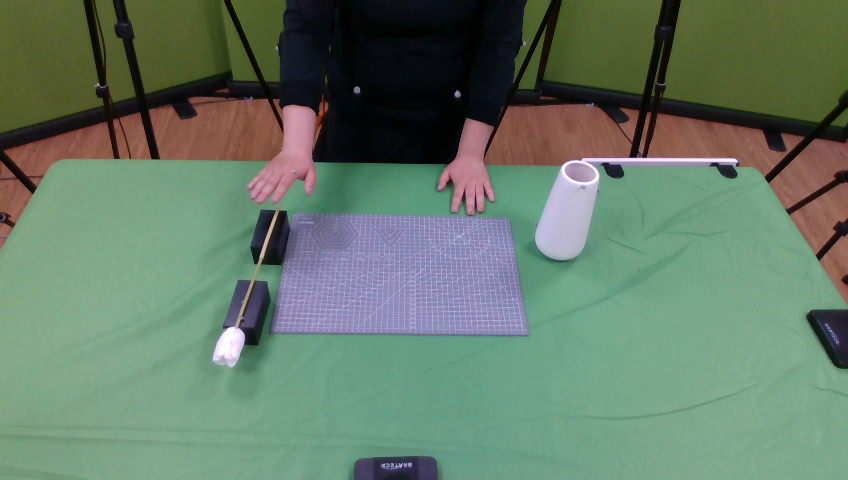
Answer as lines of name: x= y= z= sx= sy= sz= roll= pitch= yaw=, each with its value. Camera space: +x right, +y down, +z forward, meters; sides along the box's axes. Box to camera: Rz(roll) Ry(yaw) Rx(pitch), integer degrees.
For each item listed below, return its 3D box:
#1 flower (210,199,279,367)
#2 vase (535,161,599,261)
flower: x=-0.298 y=0.056 z=1.054 sx=0.044 sy=0.038 sz=0.359 roll=-16 pitch=44 yaw=24
vase: x=0.271 y=-0.051 z=1.145 sx=0.098 sy=0.201 sz=0.097 roll=1 pitch=46 yaw=-1
